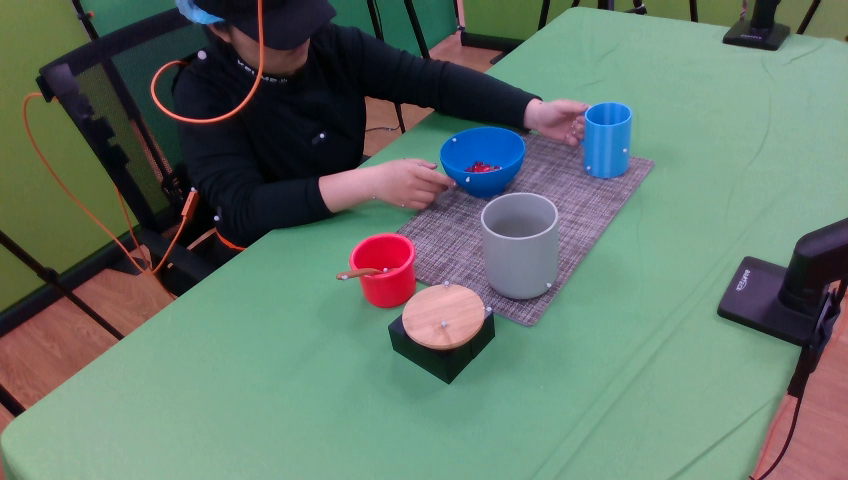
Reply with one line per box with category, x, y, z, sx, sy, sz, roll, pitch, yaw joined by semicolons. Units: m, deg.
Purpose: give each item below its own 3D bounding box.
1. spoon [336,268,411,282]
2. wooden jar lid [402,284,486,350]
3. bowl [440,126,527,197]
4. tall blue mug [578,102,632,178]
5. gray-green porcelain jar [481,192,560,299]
spoon;-0.071;0.047;0.850;0.041;0.195;0.021;18;93;24
wooden jar lid;0.027;0.101;0.785;0.108;0.021;0.108;-5;39;4
bowl;0.107;-0.129;1.070;0.151;0.077;0.150;-5;40;5
tall blue mug;0.308;-0.178;1.062;0.106;0.108;0.078;19;51;31
gray-green porcelain jar;0.138;0.013;0.858;0.106;0.127;0.105;-6;40;5
